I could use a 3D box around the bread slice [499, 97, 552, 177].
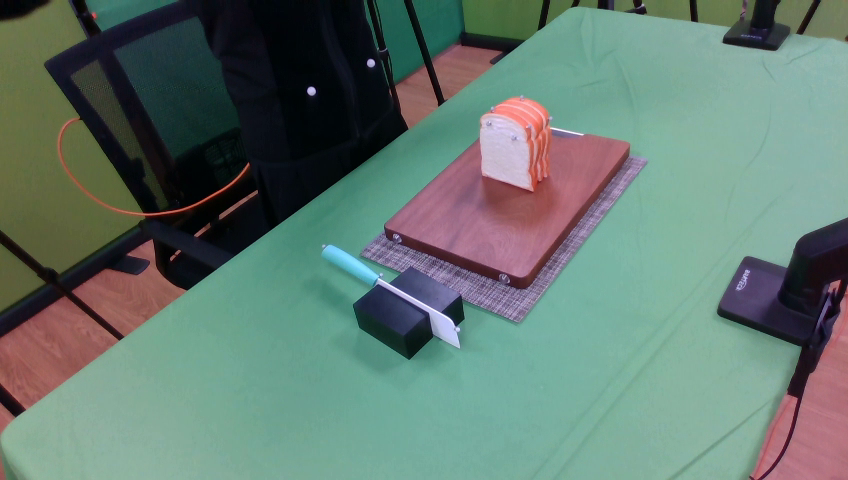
[{"bbox_3d":[0.173,-0.179,1.034,0.104,0.132,0.019,24,46,31],"label":"bread slice"}]

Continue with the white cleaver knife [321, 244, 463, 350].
[{"bbox_3d":[-0.056,0.079,0.868,0.284,0.066,0.021,28,48,37],"label":"white cleaver knife"}]

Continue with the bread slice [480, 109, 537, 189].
[{"bbox_3d":[0.138,-0.154,1.008,0.106,0.135,0.018,19,49,35],"label":"bread slice"}]
